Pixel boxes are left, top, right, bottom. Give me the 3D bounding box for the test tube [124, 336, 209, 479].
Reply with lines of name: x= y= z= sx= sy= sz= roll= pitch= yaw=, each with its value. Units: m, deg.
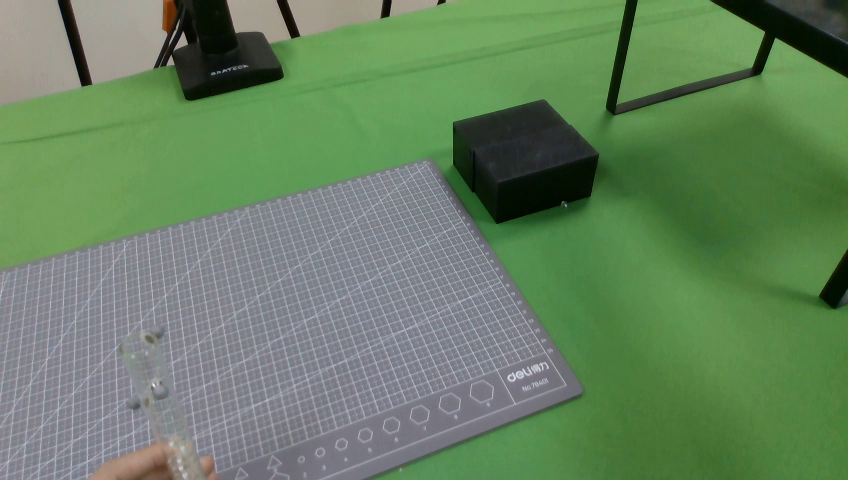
test tube: x=-0.120 y=0.107 z=0.301 sx=0.017 sy=0.151 sz=0.017 roll=0 pitch=34 yaw=1
